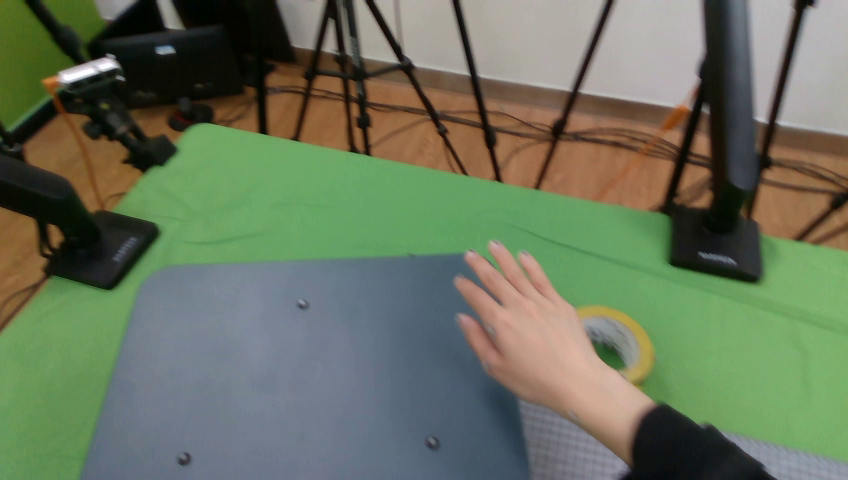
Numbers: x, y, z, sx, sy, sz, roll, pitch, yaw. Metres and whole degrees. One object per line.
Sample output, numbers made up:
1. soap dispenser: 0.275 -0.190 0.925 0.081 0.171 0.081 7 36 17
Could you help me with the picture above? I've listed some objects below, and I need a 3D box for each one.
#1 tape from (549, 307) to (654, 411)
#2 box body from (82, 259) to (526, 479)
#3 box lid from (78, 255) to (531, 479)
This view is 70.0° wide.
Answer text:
1. tape: 0.206 0.137 0.713 0.117 0.053 0.115 0 45 0
2. box body: -0.097 0.172 0.612 0.364 0.162 0.251 -3 48 -1
3. box lid: -0.097 0.122 0.556 0.372 0.015 0.260 -3 48 -1
